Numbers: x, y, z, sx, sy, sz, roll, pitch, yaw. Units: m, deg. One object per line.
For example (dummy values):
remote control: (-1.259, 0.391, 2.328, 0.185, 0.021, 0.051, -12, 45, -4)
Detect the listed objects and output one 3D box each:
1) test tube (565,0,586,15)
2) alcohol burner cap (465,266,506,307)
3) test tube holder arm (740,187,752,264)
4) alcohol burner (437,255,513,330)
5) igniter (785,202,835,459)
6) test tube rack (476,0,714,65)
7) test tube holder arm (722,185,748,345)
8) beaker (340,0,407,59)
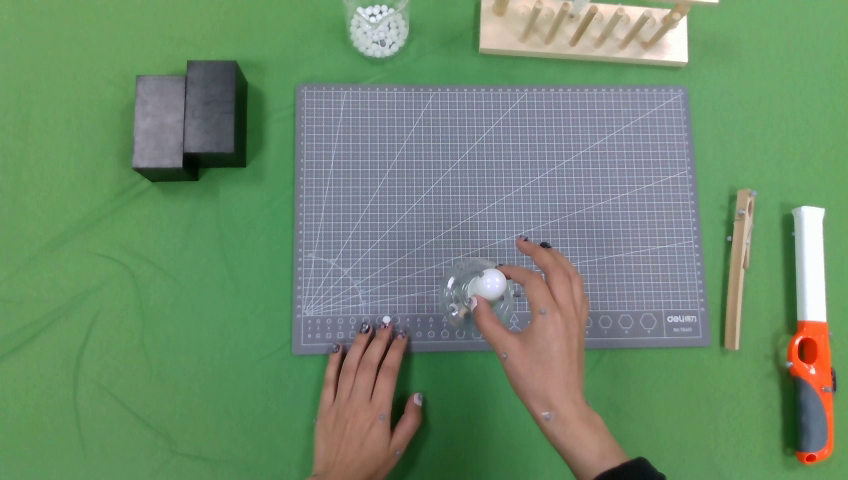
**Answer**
test tube: (0.176, -0.274, 0.625, 0.017, 0.150, 0.017, 1, 82, -6)
alcohol burner cap: (0.057, 0.041, 0.550, 0.034, 0.048, 0.033, 2, 72, -7)
test tube holder arm: (0.356, -0.016, 0.680, 0.010, 0.015, 0.087, 18, 79, -35)
alcohol burner: (0.053, 0.050, 0.599, 0.078, 0.119, 0.077, 1, 79, -4)
igniter: (0.420, 0.095, 0.661, 0.057, 0.025, 0.275, 6, 81, -12)
test tube rack: (0.184, -0.252, 0.673, 0.242, 0.085, 0.066, 3, 81, -3)
test tube holder arm: (0.344, 0.026, 0.670, 0.013, 0.015, 0.178, 16, 80, -35)
beaker: (-0.054, -0.245, 0.650, 0.074, 0.100, 0.083, 2, 81, -3)
